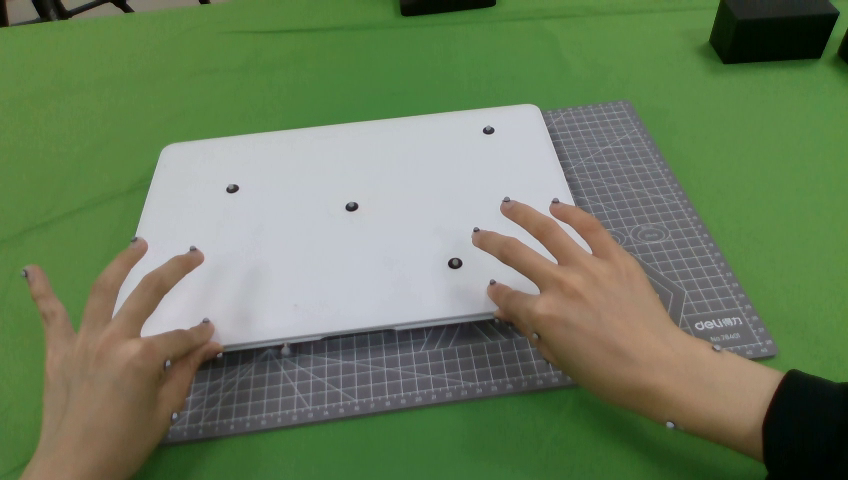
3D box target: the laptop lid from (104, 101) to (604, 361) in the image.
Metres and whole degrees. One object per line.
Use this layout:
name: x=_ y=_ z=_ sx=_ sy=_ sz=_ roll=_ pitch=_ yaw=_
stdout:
laptop lid: x=-0.058 y=-0.024 z=0.490 sx=0.357 sy=0.013 sz=0.239 roll=-6 pitch=49 yaw=0

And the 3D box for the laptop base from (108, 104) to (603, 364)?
laptop base: x=-0.057 y=-0.017 z=0.501 sx=0.354 sy=0.023 sz=0.233 roll=-7 pitch=51 yaw=-1
